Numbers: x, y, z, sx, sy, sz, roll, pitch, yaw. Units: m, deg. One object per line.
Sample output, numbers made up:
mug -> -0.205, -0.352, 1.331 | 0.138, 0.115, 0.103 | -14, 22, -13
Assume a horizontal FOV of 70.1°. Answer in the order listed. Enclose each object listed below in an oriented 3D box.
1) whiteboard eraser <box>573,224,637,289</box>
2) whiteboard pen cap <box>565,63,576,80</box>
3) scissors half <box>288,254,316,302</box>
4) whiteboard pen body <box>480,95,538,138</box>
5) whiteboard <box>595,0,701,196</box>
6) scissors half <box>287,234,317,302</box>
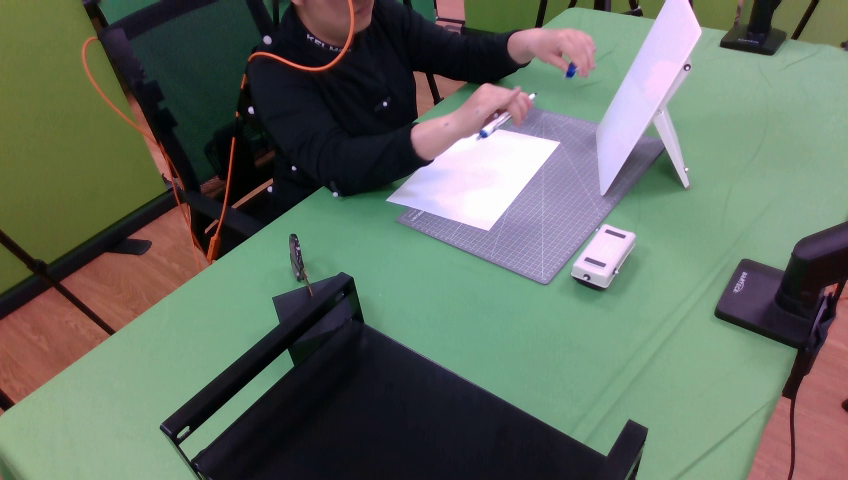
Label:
whiteboard eraser -> 0.267, 0.025, 0.891 | 0.055, 0.042, 0.113 | 19, 47, 31
whiteboard pen cap -> 0.274, -0.314, 1.134 | 0.018, 0.018, 0.033 | 9, 61, 19
scissors half -> -0.178, 0.058, 0.894 | 0.013, 0.040, 0.174 | -16, 20, -18
whiteboard pen body -> 0.139, -0.201, 0.971 | 0.017, 0.017, 0.141 | 29, 54, 36
whiteboard -> 0.421, -0.227, 1.010 | 0.144, 0.305, 0.216 | 18, 42, -2
scissors half -> -0.178, 0.040, 0.885 | 0.013, 0.040, 0.173 | -11, 37, -21
